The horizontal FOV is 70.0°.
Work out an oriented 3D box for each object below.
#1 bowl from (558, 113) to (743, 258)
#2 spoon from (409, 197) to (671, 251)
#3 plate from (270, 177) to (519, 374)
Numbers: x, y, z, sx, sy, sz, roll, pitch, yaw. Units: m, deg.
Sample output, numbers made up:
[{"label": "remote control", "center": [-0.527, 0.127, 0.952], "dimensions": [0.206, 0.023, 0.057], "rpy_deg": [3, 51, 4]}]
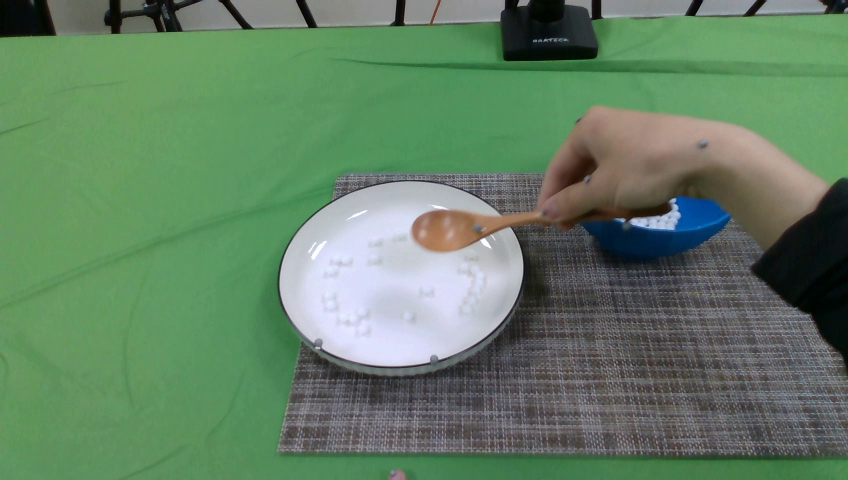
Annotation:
[{"label": "bowl", "center": [0.191, -0.037, 0.540], "dimensions": [0.151, 0.077, 0.150], "rpy_deg": [-1, 48, 2]}, {"label": "spoon", "center": [0.077, -0.016, 0.445], "dimensions": [0.193, 0.022, 0.041], "rpy_deg": [-6, 56, 29]}, {"label": "plate", "center": [-0.024, 0.028, 0.521], "dimensions": [0.207, 0.039, 0.205], "rpy_deg": [-1, 48, 2]}]
